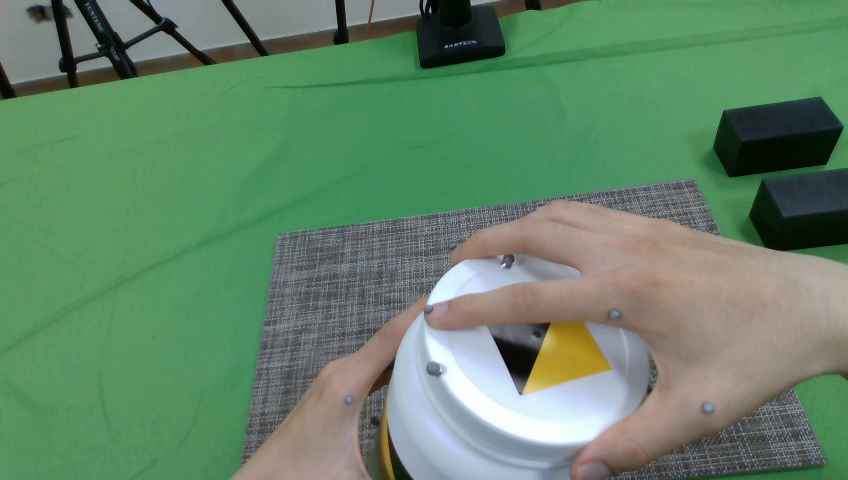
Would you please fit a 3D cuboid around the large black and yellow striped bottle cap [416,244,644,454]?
[{"bbox_3d":[0.054,0.050,0.306,0.115,0.019,0.114,6,49,-7],"label":"large black and yellow striped bottle cap"}]

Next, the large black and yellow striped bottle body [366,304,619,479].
[{"bbox_3d":[0.038,0.107,0.371,0.131,0.185,0.129,7,48,-8],"label":"large black and yellow striped bottle body"}]
